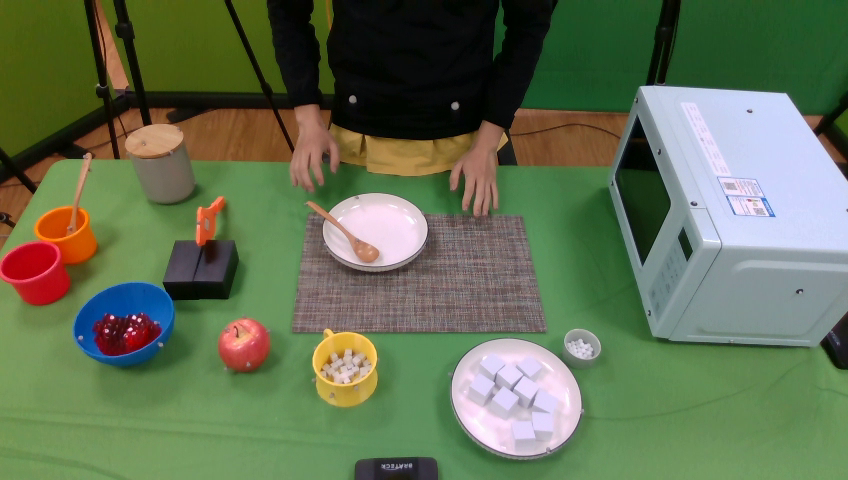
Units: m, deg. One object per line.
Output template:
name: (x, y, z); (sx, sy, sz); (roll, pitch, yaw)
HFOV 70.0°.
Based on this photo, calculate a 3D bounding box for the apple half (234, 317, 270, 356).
apple half: (-0.273, 0.154, 0.992); (0.081, 0.082, 0.033); (33, 56, 25)

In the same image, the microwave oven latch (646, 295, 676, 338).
microwave oven latch: (0.412, 0.133, 1.061); (0.030, 0.029, 0.078); (3, 46, 0)

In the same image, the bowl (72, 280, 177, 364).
bowl: (-0.473, 0.147, 0.982); (0.151, 0.077, 0.150); (2, 46, -2)

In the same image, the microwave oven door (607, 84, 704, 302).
microwave oven door: (0.424, -0.096, 1.138); (0.039, 0.245, 0.353); (3, 46, -1)

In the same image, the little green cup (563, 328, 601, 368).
little green cup: (0.265, 0.184, 1.025); (0.061, 0.039, 0.061); (1, 46, -1)

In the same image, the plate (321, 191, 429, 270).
plate: (-0.094, -0.015, 1.185); (0.209, 0.038, 0.208); (2, 46, -2)

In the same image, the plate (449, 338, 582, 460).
plate: (0.141, 0.251, 0.956); (0.208, 0.039, 0.206); (2, 46, -2)

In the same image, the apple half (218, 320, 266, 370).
apple half: (-0.298, 0.176, 0.971); (0.080, 0.075, 0.053); (35, 57, 22)

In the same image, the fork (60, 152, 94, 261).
fork: (-0.638, -0.063, 1.119); (0.028, 0.018, 0.207); (12, 90, 9)

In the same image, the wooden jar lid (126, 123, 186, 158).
wooden jar lid: (-0.519, -0.190, 1.179); (0.108, 0.021, 0.107); (2, 44, -2)

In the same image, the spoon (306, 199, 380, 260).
spoon: (-0.160, -0.023, 1.170); (0.193, 0.022, 0.041); (41, 61, 16)

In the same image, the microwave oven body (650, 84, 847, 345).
microwave oven body: (0.569, -0.054, 1.116); (0.326, 0.261, 0.439); (2, 46, -1)

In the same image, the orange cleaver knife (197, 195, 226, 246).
orange cleaver knife: (-0.405, -0.041, 1.157); (0.012, 0.077, 0.210); (2, 14, -7)

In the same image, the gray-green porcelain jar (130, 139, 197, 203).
gray-green porcelain jar: (-0.522, -0.148, 1.224); (0.106, 0.127, 0.105); (2, 47, -2)

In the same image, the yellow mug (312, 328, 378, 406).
yellow mug: (-0.132, 0.193, 0.971); (0.100, 0.064, 0.130); (-22, 51, -22)
